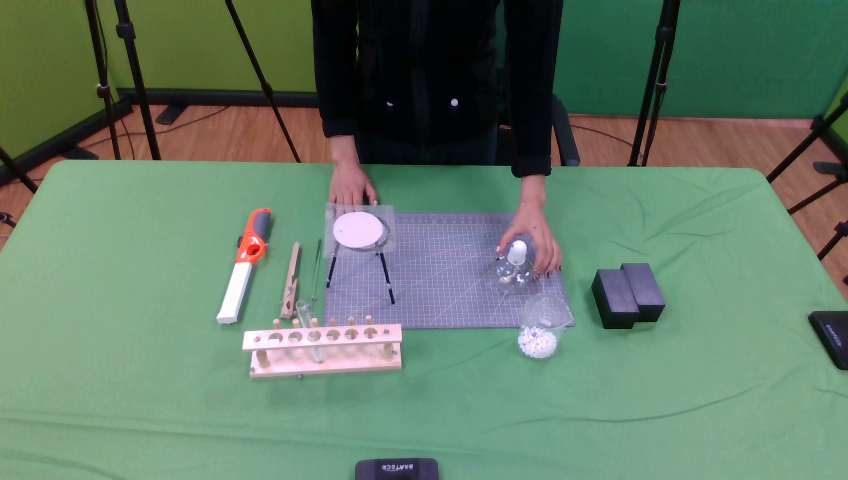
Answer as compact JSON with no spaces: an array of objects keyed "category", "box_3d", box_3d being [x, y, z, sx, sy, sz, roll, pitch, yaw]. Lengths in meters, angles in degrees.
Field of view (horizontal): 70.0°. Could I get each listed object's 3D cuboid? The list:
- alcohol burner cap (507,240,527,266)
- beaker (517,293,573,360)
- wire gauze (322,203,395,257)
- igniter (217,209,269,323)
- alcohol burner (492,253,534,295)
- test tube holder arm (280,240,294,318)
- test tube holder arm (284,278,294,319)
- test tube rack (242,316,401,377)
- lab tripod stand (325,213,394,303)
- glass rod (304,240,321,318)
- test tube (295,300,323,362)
[{"category":"alcohol burner cap","box_3d":[0.167,0.021,1.075,0.034,0.048,0.033,1,55,-1]},{"category":"beaker","box_3d":[0.200,0.149,1.018,0.084,0.101,0.073,14,47,8]},{"category":"wire gauze","box_3d":[-0.111,-0.020,1.035,0.121,0.011,0.124,0,47,-7]},{"category":"igniter","box_3d":[-0.335,0.039,1.132,0.057,0.025,0.275,-3,46,6]},{"category":"alcohol burner","box_3d":[0.165,0.045,1.103,0.078,0.119,0.077,3,47,-3]},{"category":"test tube holder arm","box_3d":[-0.251,0.068,1.112,0.013,0.015,0.177,28,38,-33]},{"category":"test tube holder arm","box_3d":[-0.243,0.103,1.085,0.010,0.015,0.087,29,37,-31]},{"category":"test tube rack","box_3d":[-0.161,0.166,0.983,0.242,0.085,0.066,-2,46,-6]},{"category":"lab tripod stand","box_3d":[-0.104,0.031,1.080,0.148,0.132,0.147,4,45,-4]},{"category":"glass rod","box_3d":[-0.207,0.069,1.128,0.008,0.008,0.198,2,43,-2]},{"category":"test tube","box_3d":[-0.176,0.143,0.935,0.017,0.151,0.017,-2,46,2]}]
